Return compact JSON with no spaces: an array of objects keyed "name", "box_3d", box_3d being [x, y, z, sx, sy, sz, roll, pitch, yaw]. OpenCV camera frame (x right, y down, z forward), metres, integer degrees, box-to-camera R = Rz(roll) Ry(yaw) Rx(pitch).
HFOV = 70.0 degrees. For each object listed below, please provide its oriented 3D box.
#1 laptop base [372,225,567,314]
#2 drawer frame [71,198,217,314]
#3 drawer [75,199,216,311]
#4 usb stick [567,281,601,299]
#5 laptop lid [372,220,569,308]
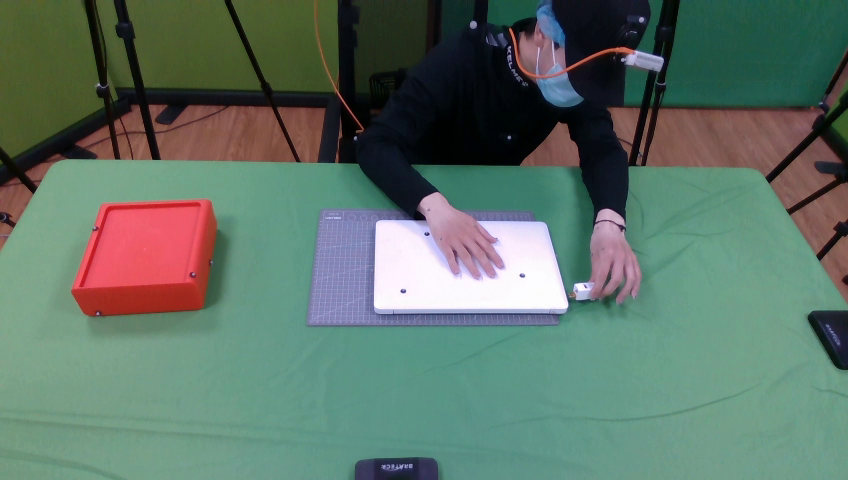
[{"name":"laptop base","box_3d":[0.080,0.050,1.159,0.355,0.023,0.234,0,43,-4]},{"name":"drawer frame","box_3d":[-0.493,0.023,1.096,0.202,0.083,0.212,-3,47,-8]},{"name":"drawer","box_3d":[-0.494,0.022,1.097,0.195,0.073,0.210,-2,47,-8]},{"name":"usb stick","box_3d":[0.292,0.093,1.112,0.059,0.027,0.021,-8,38,-7]},{"name":"laptop lid","box_3d":[0.081,0.040,1.152,0.357,0.013,0.240,2,44,-3]}]
